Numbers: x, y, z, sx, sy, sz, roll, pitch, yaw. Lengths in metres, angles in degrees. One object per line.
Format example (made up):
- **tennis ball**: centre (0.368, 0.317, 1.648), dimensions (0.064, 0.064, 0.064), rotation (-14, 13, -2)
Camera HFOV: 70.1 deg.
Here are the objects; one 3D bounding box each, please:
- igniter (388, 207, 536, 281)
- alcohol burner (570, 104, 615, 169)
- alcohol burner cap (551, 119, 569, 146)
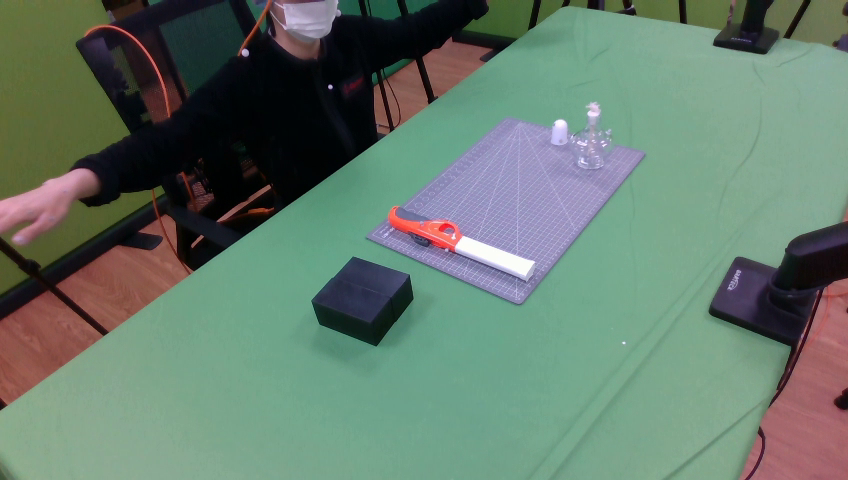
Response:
- **igniter**: centre (0.049, 0.001, 0.954), dimensions (0.274, 0.025, 0.057), rotation (22, 59, 31)
- **alcohol burner**: centre (0.299, -0.186, 1.071), dimensions (0.078, 0.119, 0.077), rotation (-6, 41, 6)
- **alcohol burner cap**: centre (0.261, -0.207, 1.156), dimensions (0.034, 0.048, 0.033), rotation (-5, 41, 4)
